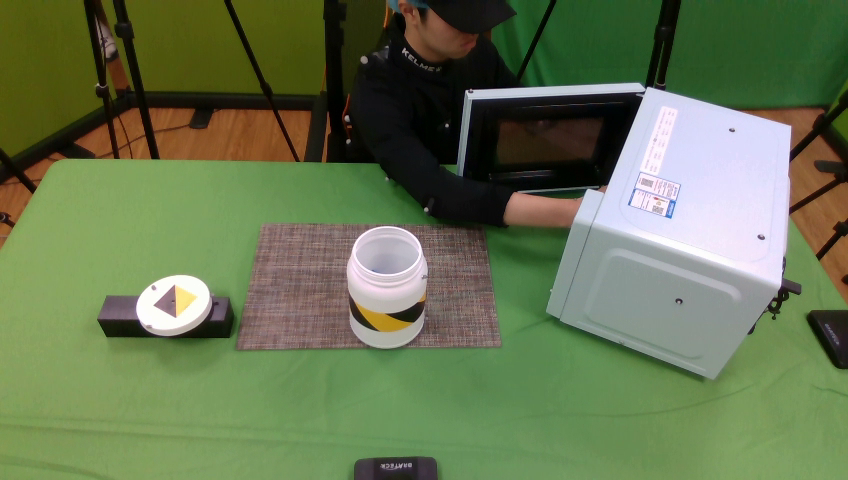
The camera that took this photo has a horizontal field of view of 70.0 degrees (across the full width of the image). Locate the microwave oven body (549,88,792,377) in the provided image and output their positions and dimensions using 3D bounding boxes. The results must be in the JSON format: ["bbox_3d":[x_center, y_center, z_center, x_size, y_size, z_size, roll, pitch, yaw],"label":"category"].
[{"bbox_3d":[0.456,-0.028,1.088,0.325,0.261,0.440,20,47,16],"label":"microwave oven body"}]

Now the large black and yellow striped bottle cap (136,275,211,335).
[{"bbox_3d":[-0.412,0.105,0.999,0.115,0.019,0.114,3,46,-3],"label":"large black and yellow striped bottle cap"}]

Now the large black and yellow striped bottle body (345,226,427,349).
[{"bbox_3d":[-0.062,0.078,0.998,0.131,0.185,0.130,2,46,-2],"label":"large black and yellow striped bottle body"}]

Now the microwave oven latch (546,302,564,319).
[{"bbox_3d":[0.242,0.102,1.081,0.030,0.029,0.079,21,48,17],"label":"microwave oven latch"}]

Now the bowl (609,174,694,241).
[{"bbox_3d":[0.425,-0.051,1.143,0.151,0.077,0.150,-7,38,6],"label":"bowl"}]

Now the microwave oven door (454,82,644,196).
[{"bbox_3d":[0.247,-0.202,1.233,0.356,0.245,0.039,-5,47,-8],"label":"microwave oven door"}]
